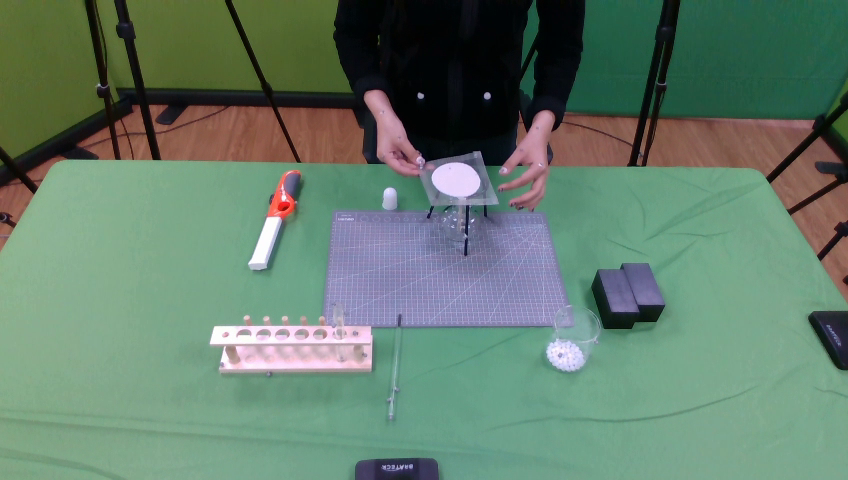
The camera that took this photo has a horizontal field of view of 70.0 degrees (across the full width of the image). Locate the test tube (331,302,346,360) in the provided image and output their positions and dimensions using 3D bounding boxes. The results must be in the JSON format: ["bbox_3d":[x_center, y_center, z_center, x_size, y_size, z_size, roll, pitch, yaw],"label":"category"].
[{"bbox_3d":[-0.132,0.144,0.938,0.017,0.151,0.017,2,49,-3],"label":"test tube"}]

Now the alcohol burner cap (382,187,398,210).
[{"bbox_3d":[-0.072,-0.090,1.266,0.034,0.048,0.033,2,47,-2],"label":"alcohol burner cap"}]

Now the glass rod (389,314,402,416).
[{"bbox_3d":[-0.048,0.203,1.007,0.008,0.008,0.198,4,45,0],"label":"glass rod"}]

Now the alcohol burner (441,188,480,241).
[{"bbox_3d":[0.073,-0.055,1.189,0.078,0.120,0.077,1,47,0],"label":"alcohol burner"}]

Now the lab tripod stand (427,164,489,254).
[{"bbox_3d":[0.078,-0.067,1.187,0.148,0.132,0.147,3,47,-3],"label":"lab tripod stand"}]

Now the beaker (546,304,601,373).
[{"bbox_3d":[0.242,0.167,1.001,0.084,0.101,0.073,-32,55,-28],"label":"beaker"}]

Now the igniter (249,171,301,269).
[{"bbox_3d":[-0.297,-0.049,1.220,0.057,0.025,0.275,-2,45,9],"label":"igniter"}]

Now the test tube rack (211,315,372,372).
[{"bbox_3d":[-0.208,0.163,0.982,0.242,0.085,0.066,1,46,-4],"label":"test tube rack"}]

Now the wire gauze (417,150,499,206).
[{"bbox_3d":[0.059,-0.109,1.074,0.125,0.011,0.120,-7,53,-9],"label":"wire gauze"}]
